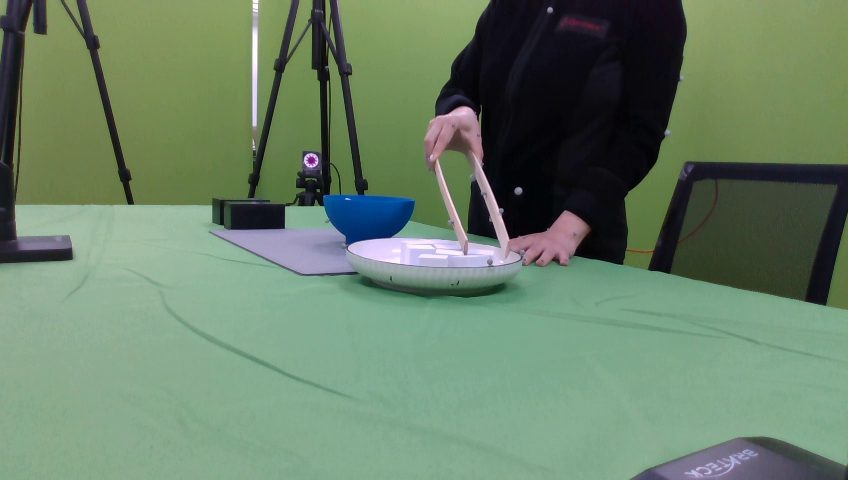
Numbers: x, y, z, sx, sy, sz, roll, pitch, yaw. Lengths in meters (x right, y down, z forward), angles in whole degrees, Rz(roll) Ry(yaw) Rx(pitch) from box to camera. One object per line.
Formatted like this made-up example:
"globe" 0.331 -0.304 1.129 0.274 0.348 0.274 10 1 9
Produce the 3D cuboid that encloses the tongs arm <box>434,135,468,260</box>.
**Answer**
"tongs arm" 0.038 -0.077 0.864 0.028 0.028 0.386 -5 28 -1

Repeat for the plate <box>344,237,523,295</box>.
"plate" 0.010 0.030 0.707 0.208 0.039 0.207 3 8 0

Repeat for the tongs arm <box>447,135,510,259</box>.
"tongs arm" 0.069 -0.078 0.867 0.051 0.026 0.384 -1 28 -1

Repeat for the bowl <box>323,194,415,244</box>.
"bowl" -0.090 -0.032 0.986 0.151 0.077 0.151 2 7 0
